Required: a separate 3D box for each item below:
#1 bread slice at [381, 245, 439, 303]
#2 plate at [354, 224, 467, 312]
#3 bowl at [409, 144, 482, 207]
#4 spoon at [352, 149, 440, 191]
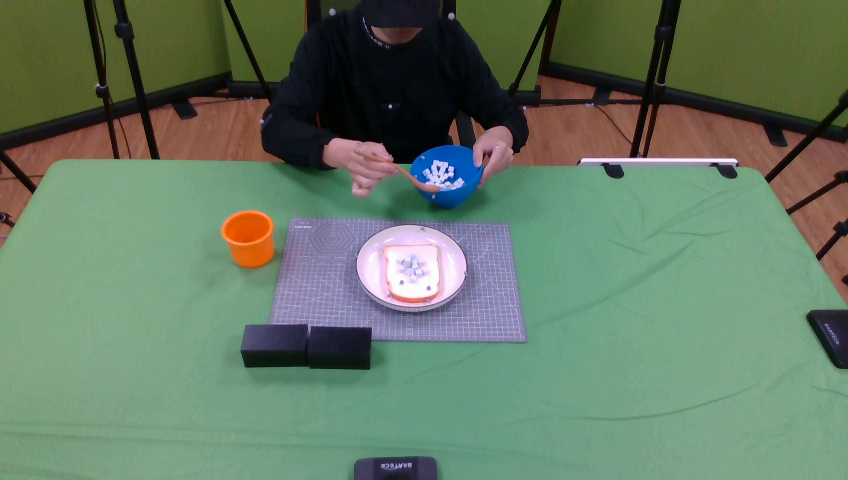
[{"bbox_3d":[-0.022,0.061,1.126,0.107,0.018,0.133,-3,45,-8],"label":"bread slice"},{"bbox_3d":[-0.025,0.055,1.128,0.209,0.038,0.208,3,46,-2],"label":"plate"},{"bbox_3d":[0.048,-0.122,1.259,0.151,0.077,0.150,-6,46,6],"label":"bowl"},{"bbox_3d":[-0.049,-0.128,1.108,0.195,0.021,0.041,26,8,-33],"label":"spoon"}]
